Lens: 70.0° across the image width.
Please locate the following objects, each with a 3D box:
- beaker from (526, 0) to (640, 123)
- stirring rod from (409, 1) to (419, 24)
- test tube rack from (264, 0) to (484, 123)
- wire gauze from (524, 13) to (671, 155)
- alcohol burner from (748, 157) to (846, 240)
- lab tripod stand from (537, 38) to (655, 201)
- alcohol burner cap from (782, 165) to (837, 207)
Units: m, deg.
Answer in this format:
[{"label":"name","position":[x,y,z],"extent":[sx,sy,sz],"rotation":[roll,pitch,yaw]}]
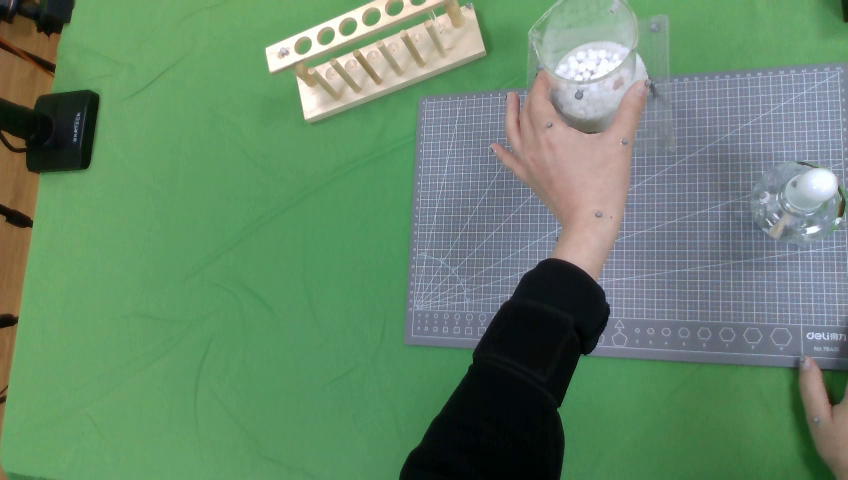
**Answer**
[{"label":"beaker","position":[0.131,-0.144,0.492],"extent":[0.083,0.101,0.074],"rotation":[14,86,21]},{"label":"stirring rod","position":[-0.029,-0.286,0.638],"extent":[0.006,0.177,0.014],"rotation":[-17,70,9]},{"label":"test tube rack","position":[-0.060,-0.224,0.721],"extent":[0.242,0.086,0.066],"rotation":[-17,75,15]},{"label":"wire gauze","position":[0.151,-0.135,0.535],"extent":[0.125,0.011,0.121],"rotation":[0,84,16]},{"label":"alcohol burner","position":[0.335,-0.041,0.538],"extent":[0.077,0.120,0.077],"rotation":[-3,80,17]},{"label":"lab tripod stand","position":[0.172,-0.123,0.597],"extent":[0.148,0.132,0.148],"rotation":[-3,81,17]},{"label":"alcohol burner cap","position":[0.323,-0.047,0.505],"extent":[0.034,0.048,0.034],"rotation":[-2,83,15]}]
